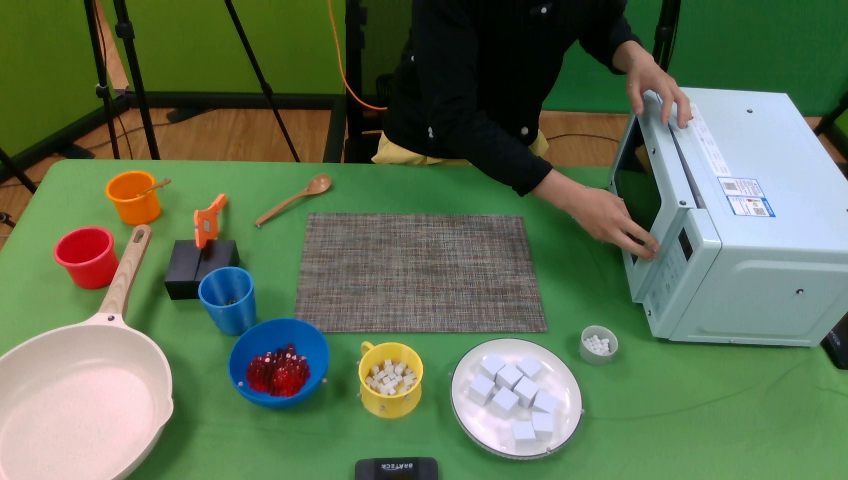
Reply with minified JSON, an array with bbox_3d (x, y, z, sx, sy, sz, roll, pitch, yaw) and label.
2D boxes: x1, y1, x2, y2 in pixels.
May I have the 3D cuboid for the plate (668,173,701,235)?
[{"bbox_3d":[0.555,-0.052,1.187,0.209,0.038,0.208,2,46,-2],"label":"plate"}]

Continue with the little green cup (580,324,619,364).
[{"bbox_3d":[0.296,0.179,1.031,0.061,0.039,0.061,2,45,-2],"label":"little green cup"}]

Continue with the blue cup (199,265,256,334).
[{"bbox_3d":[-0.321,0.107,1.014,0.093,0.101,0.092,2,48,-2],"label":"blue cup"}]

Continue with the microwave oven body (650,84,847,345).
[{"bbox_3d":[0.569,-0.054,1.116,0.326,0.261,0.439,2,46,-1],"label":"microwave oven body"}]

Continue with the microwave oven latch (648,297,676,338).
[{"bbox_3d":[0.413,0.133,1.060,0.030,0.029,0.078,5,46,2],"label":"microwave oven latch"}]

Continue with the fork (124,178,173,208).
[{"bbox_3d":[-0.525,-0.090,1.154,0.207,0.019,0.028,-17,27,45],"label":"fork"}]

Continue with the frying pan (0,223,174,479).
[{"bbox_3d":[-0.504,0.169,0.941,0.307,0.103,0.485,5,54,-1],"label":"frying pan"}]

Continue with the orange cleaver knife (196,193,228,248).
[{"bbox_3d":[-0.406,-0.041,1.163,0.012,0.077,0.210,0,18,-3],"label":"orange cleaver knife"}]

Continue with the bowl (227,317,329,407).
[{"bbox_3d":[-0.222,0.203,0.947,0.151,0.077,0.150,2,46,-2],"label":"bowl"}]

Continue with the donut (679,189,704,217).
[{"bbox_3d":[0.546,-0.062,1.175,0.099,0.048,0.098,-1,44,1],"label":"donut"}]

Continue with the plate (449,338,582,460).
[{"bbox_3d":[0.141,0.251,0.955,0.208,0.039,0.206,2,47,-2],"label":"plate"}]

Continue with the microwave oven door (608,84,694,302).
[{"bbox_3d":[0.416,-0.096,1.138,0.039,0.245,0.353,5,46,1],"label":"microwave oven door"}]

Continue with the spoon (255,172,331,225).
[{"bbox_3d":[-0.272,-0.087,1.257,0.041,0.022,0.193,45,57,13],"label":"spoon"}]

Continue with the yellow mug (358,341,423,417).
[{"bbox_3d":[-0.062,0.209,0.961,0.100,0.064,0.130,-29,54,-27],"label":"yellow mug"}]
